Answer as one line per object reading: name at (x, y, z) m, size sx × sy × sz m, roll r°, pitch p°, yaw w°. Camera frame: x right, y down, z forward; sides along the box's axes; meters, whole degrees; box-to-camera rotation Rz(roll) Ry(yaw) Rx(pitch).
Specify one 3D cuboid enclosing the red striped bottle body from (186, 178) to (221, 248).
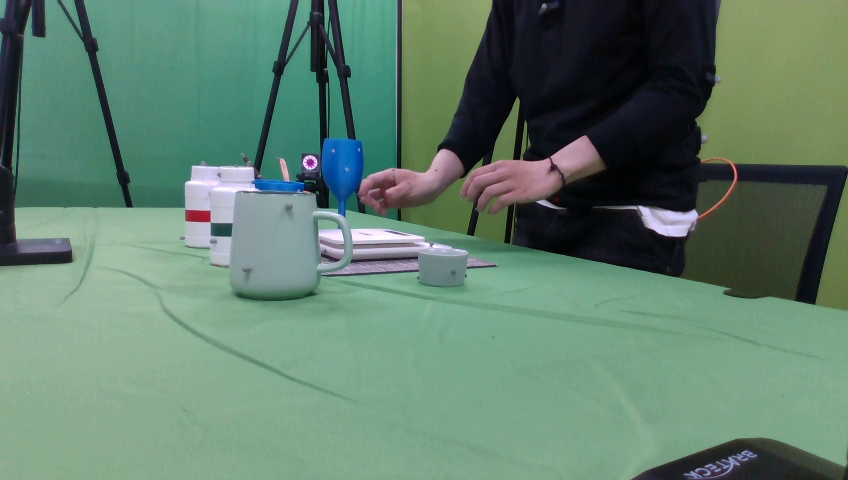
red striped bottle body at (-0.331, -0.050, 0.927) m, size 0.063 × 0.119 × 0.063 m, roll 2°, pitch 7°, yaw 0°

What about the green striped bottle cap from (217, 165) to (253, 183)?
green striped bottle cap at (-0.242, -0.085, 0.777) m, size 0.044 × 0.020 × 0.044 m, roll 2°, pitch 9°, yaw 0°

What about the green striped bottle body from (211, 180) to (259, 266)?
green striped bottle body at (-0.243, -0.029, 0.784) m, size 0.063 × 0.119 × 0.063 m, roll 2°, pitch 7°, yaw 0°

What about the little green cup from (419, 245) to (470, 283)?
little green cup at (0.023, 0.028, 0.712) m, size 0.061 × 0.038 × 0.061 m, roll 1°, pitch 6°, yaw 0°

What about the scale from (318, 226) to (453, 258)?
scale at (-0.066, 0.001, 0.906) m, size 0.202 × 0.031 × 0.148 m, roll -2°, pitch 8°, yaw -31°

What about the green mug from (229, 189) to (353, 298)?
green mug at (-0.135, 0.002, 0.618) m, size 0.125 × 0.105 × 0.092 m, roll 2°, pitch 7°, yaw 4°

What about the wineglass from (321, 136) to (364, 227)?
wineglass at (-0.138, -0.086, 1.020) m, size 0.074 × 0.172 × 0.073 m, roll 2°, pitch 7°, yaw 0°

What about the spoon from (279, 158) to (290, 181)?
spoon at (-0.280, -0.102, 1.251) m, size 0.042 × 0.193 × 0.021 m, roll 8°, pitch -40°, yaw -30°

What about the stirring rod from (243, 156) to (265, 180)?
stirring rod at (-0.304, -0.099, 1.201) m, size 0.006 × 0.177 × 0.014 m, roll -26°, pitch 37°, yaw 8°

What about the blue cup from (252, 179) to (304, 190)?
blue cup at (-0.230, -0.040, 0.929) m, size 0.093 × 0.100 × 0.092 m, roll 4°, pitch 6°, yaw 0°

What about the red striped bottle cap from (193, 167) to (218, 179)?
red striped bottle cap at (-0.329, -0.103, 0.921) m, size 0.044 × 0.017 × 0.044 m, roll -1°, pitch 9°, yaw 0°
